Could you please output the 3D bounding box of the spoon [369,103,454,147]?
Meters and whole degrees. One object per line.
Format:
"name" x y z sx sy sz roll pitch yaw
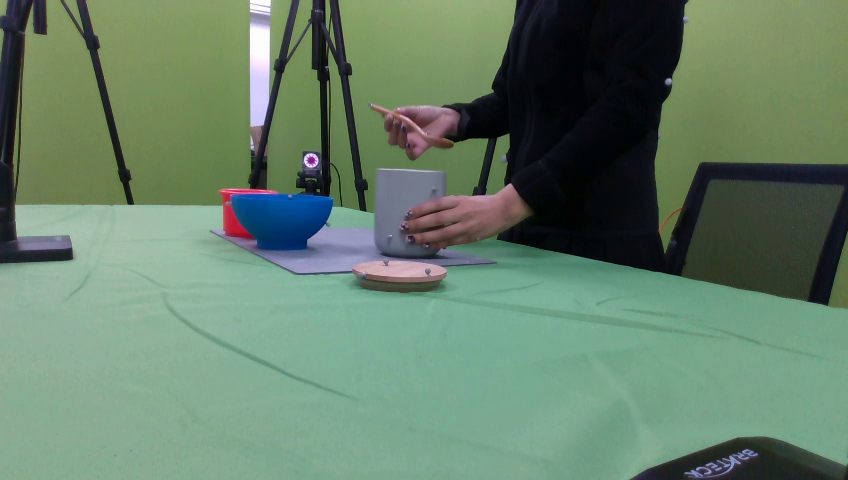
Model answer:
"spoon" -0.025 -0.196 1.017 0.193 0.021 0.042 36 8 33

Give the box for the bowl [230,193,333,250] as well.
"bowl" -0.214 -0.028 0.912 0.151 0.077 0.151 2 8 0

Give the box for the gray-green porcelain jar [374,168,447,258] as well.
"gray-green porcelain jar" -0.021 -0.041 0.892 0.106 0.126 0.106 2 7 0

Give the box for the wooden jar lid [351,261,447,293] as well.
"wooden jar lid" -0.028 0.041 0.687 0.108 0.020 0.108 3 8 0
